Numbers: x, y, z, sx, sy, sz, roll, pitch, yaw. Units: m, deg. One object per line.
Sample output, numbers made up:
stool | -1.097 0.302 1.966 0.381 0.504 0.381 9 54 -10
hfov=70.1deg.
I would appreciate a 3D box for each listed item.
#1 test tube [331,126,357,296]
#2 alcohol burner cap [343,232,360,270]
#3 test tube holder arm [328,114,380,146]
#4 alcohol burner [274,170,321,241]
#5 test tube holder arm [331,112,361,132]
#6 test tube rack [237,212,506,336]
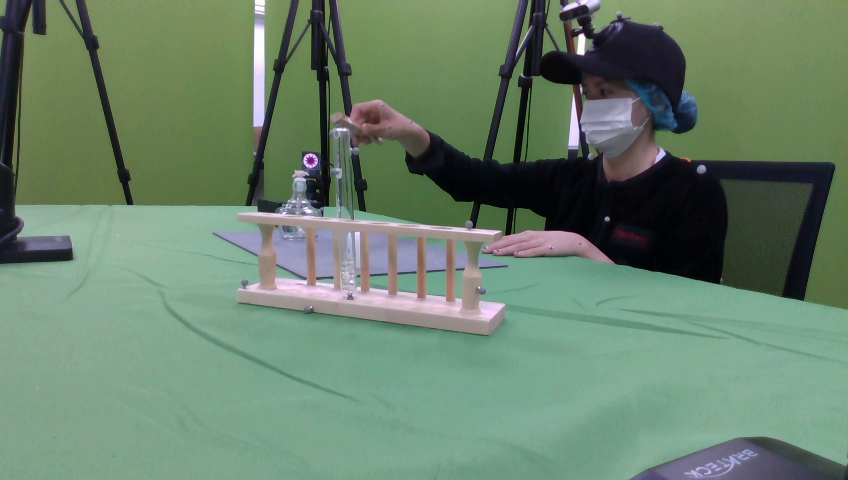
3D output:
test tube | -0.070 -0.025 0.534 0.017 0.150 0.017 -2 8 1
alcohol burner cap | -0.087 0.013 0.776 0.034 0.048 0.034 3 7 0
test tube holder arm | -0.118 -0.188 1.046 0.013 0.015 0.179 -24 -11 16
alcohol burner | -0.212 -0.058 1.015 0.078 0.119 0.078 4 5 0
test tube holder arm | -0.128 -0.194 1.001 0.010 0.015 0.088 -24 -11 16
test tube rack | -0.049 0.024 0.552 0.242 0.085 0.067 5 8 18
